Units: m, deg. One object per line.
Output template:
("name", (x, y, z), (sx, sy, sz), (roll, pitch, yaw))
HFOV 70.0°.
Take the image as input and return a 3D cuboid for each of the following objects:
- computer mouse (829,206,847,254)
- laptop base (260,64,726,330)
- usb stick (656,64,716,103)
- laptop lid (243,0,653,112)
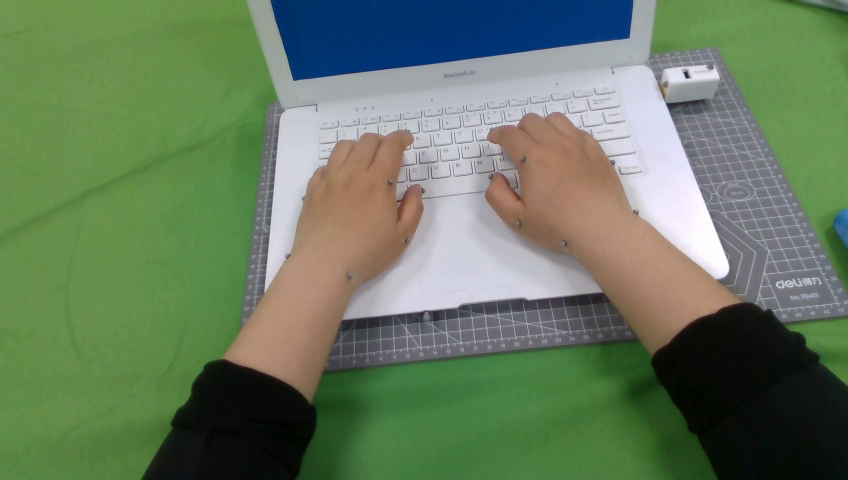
("computer mouse", (0.347, 0.014, 0.429), (0.063, 0.041, 0.116), (-11, 51, 3))
("laptop base", (0.042, -0.045, 0.518), (0.354, 0.023, 0.233), (-7, 58, 2))
("usb stick", (0.227, -0.139, 0.545), (0.059, 0.027, 0.021), (-7, 55, 6))
("laptop lid", (0.020, -0.228, 0.505), (0.356, 0.244, 0.013), (-8, 42, 3))
